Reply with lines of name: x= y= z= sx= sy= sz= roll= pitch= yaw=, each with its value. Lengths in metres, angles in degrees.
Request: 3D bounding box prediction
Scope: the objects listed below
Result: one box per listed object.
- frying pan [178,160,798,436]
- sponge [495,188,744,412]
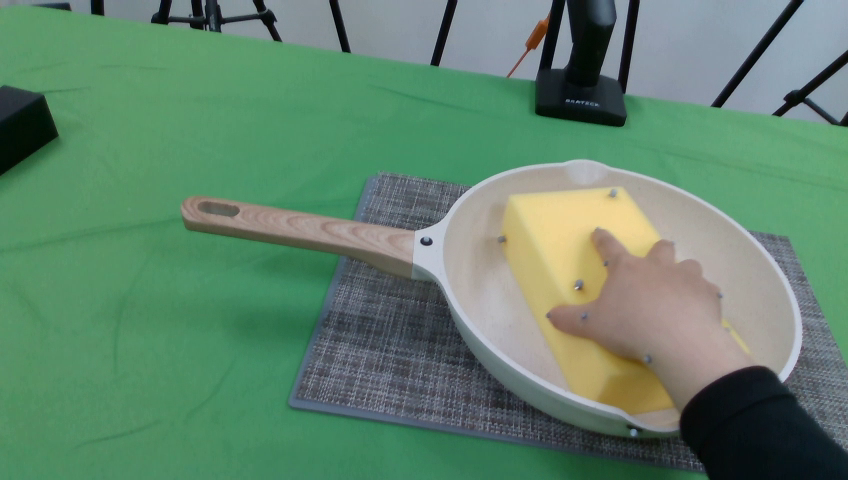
frying pan: x=0.049 y=0.020 z=0.503 sx=0.489 sy=0.103 sz=0.304 roll=12 pitch=40 yaw=-7
sponge: x=0.152 y=0.043 z=0.519 sx=0.118 sy=0.061 sz=0.204 roll=-6 pitch=43 yaw=-15
